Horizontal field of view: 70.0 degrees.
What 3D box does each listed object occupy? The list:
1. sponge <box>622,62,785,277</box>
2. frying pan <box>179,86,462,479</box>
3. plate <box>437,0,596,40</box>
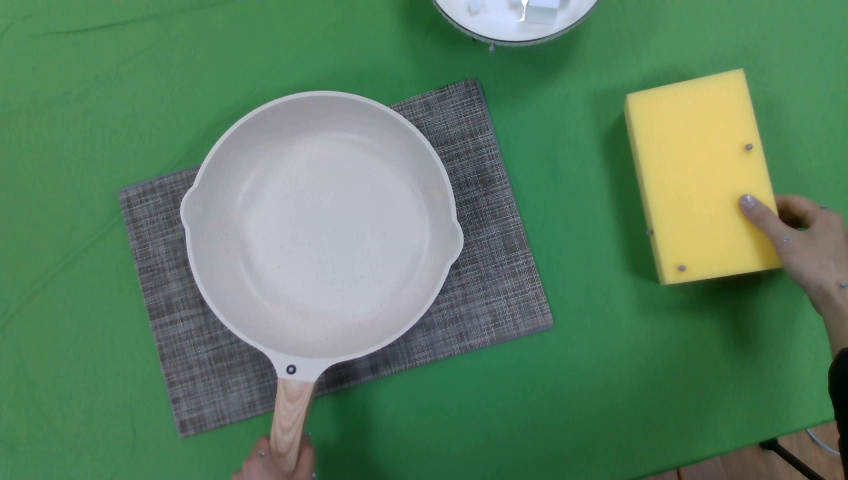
[{"bbox_3d":[0.291,-0.069,0.646,0.118,0.061,0.206,-12,85,14],"label":"sponge"},{"bbox_3d":[-0.126,0.081,0.649,0.306,0.103,0.486,8,78,6],"label":"frying pan"},{"bbox_3d":[0.098,-0.311,0.650,0.207,0.039,0.207,0,85,3],"label":"plate"}]
